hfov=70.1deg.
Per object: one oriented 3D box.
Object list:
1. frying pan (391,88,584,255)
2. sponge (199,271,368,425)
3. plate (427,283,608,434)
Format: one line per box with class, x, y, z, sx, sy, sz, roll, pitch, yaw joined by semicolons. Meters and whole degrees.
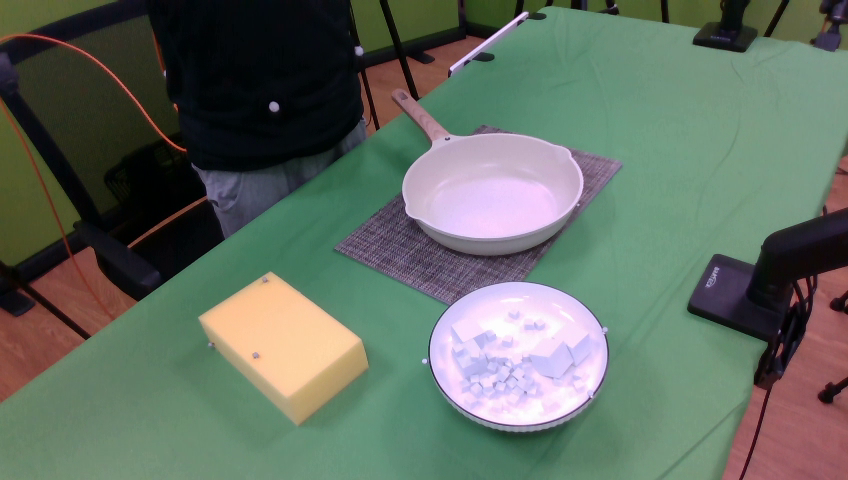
frying pan;0.063;-0.143;1.056;0.308;0.103;0.483;-22;51;-18
sponge;-0.189;0.136;0.807;0.205;0.061;0.118;29;52;35
plate;0.108;0.137;0.708;0.207;0.039;0.206;-4;42;4
